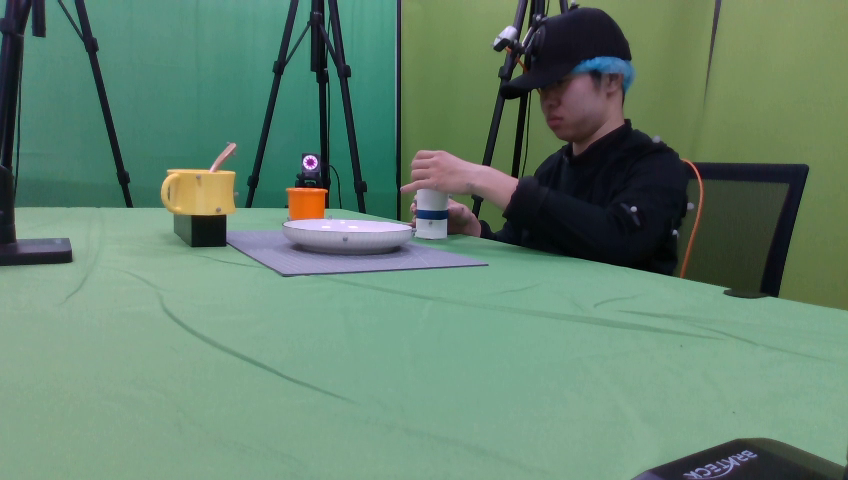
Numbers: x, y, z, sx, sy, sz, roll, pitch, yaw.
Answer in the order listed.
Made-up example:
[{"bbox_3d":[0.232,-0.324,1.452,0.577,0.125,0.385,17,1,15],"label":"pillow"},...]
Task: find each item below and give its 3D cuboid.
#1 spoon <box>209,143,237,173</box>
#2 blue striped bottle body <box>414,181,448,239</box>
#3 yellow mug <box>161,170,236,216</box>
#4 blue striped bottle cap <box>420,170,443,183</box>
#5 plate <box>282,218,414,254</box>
[{"bbox_3d":[-0.341,-0.113,0.990,0.041,0.021,0.193,1,40,6],"label":"spoon"},{"bbox_3d":[0.015,-0.065,1.166,0.063,0.120,0.063,2,8,0],"label":"blue striped bottle body"},{"bbox_3d":[-0.354,-0.074,0.935,0.099,0.064,0.131,5,10,21],"label":"yellow mug"},{"bbox_3d":[0.015,-0.122,1.159,0.044,0.020,0.044,5,13,-1],"label":"blue striped bottle cap"},{"bbox_3d":[-0.121,-0.007,0.971,0.208,0.039,0.207,2,7,0],"label":"plate"}]
